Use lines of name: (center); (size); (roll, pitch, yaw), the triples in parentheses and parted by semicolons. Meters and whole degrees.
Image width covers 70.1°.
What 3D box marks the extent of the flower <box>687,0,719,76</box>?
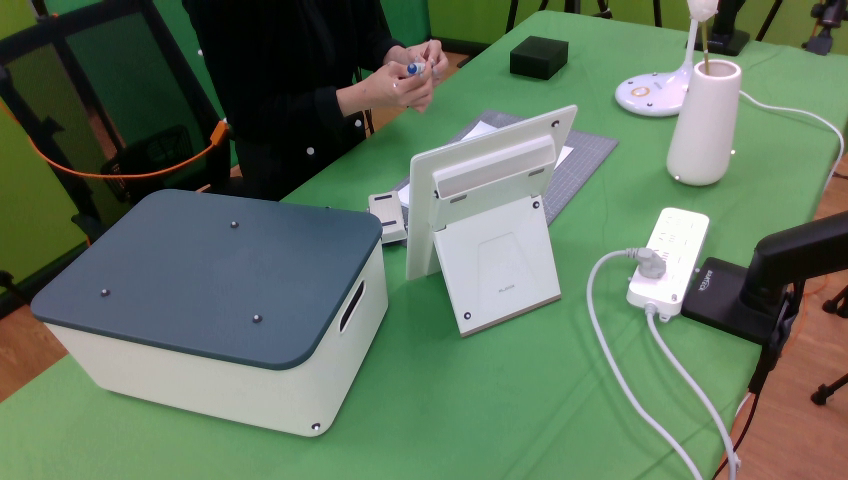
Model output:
flower: (0.436, -0.242, 0.934); (0.038, 0.364, 0.043); (-24, 49, 9)

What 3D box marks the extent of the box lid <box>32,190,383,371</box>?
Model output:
box lid: (-0.257, 0.032, 0.750); (0.370, 0.015, 0.263); (7, 41, 16)

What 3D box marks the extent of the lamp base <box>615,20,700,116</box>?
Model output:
lamp base: (0.484, -0.364, 1.211); (0.180, 0.181, 0.159); (-15, 41, -14)

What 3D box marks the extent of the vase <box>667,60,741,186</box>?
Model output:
vase: (0.463, -0.189, 0.994); (0.098, 0.201, 0.097); (-4, 40, 4)

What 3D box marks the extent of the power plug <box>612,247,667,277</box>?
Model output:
power plug: (0.306, 0.031, 0.852); (0.072, 0.053, 0.035); (21, 48, 37)

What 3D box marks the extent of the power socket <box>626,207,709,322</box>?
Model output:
power socket: (0.360, 0.026, 0.886); (0.072, 0.033, 0.227); (17, 46, 27)

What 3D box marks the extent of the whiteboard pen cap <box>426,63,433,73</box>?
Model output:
whiteboard pen cap: (0.005, -0.294, 1.035); (0.018, 0.018, 0.033); (2, 16, 11)

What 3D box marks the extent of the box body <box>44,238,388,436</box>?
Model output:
box body: (-0.251, 0.088, 0.799); (0.362, 0.161, 0.254); (7, 42, 16)

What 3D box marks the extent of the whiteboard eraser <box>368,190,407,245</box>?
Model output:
whiteboard eraser: (-0.061, -0.035, 1.006); (0.056, 0.042, 0.112); (-9, 40, -3)

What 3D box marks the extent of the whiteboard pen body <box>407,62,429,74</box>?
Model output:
whiteboard pen body: (-0.007, -0.278, 0.977); (0.017, 0.017, 0.141); (2, 16, 11)

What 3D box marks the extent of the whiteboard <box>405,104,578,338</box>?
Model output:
whiteboard: (0.102, 0.003, 0.787); (0.218, 0.306, 0.143); (-19, 62, -14)
